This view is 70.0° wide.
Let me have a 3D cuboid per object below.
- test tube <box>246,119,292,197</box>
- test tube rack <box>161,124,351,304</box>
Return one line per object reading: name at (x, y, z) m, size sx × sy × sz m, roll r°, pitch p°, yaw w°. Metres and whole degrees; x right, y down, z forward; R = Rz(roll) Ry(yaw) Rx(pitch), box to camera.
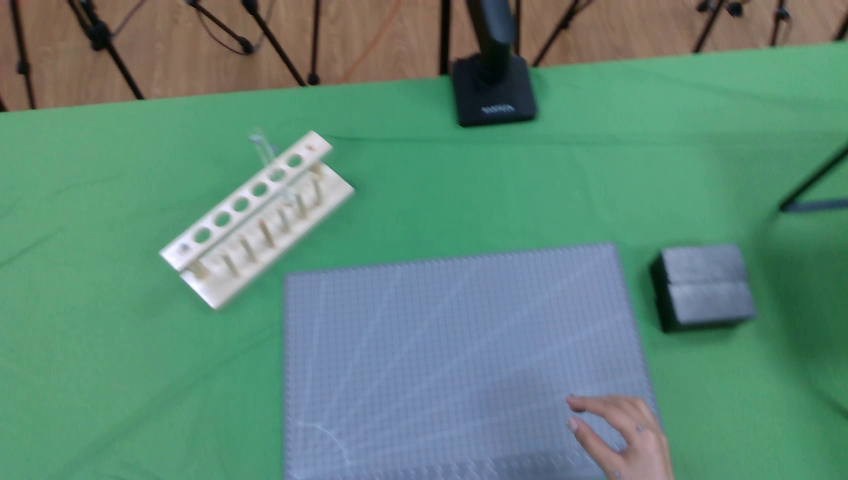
test tube at (-0.191, -0.098, 0.757) m, size 0.017 × 0.151 × 0.017 m, roll -2°, pitch 62°, yaw 4°
test tube rack at (-0.207, -0.034, 0.784) m, size 0.066 × 0.086 × 0.242 m, roll 40°, pitch 71°, yaw 16°
